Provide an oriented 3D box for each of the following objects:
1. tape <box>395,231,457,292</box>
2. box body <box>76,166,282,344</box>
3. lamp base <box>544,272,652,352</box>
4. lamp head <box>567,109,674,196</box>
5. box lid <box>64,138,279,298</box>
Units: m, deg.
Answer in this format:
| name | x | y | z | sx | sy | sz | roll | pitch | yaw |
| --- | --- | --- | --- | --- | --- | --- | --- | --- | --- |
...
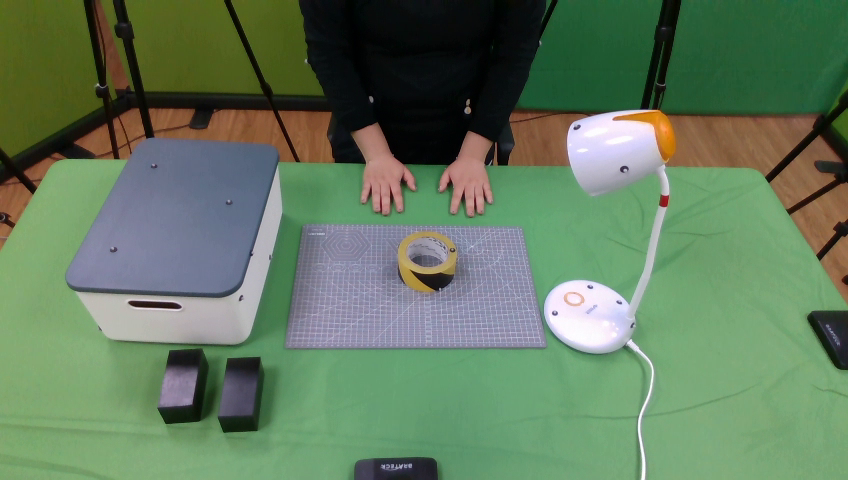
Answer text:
| name | x | y | z | sx | sy | sz | roll | pitch | yaw |
| --- | --- | --- | --- | --- | --- | --- | --- | --- | --- |
| tape | 0.005 | 0.039 | 1.136 | 0.117 | 0.053 | 0.116 | 2 | 46 | -1 |
| box body | -0.406 | -0.002 | 1.071 | 0.254 | 0.161 | 0.361 | 2 | 46 | -2 |
| lamp base | 0.310 | 0.086 | 1.029 | 0.178 | 0.181 | 0.160 | 32 | 52 | 21 |
| lamp head | 0.272 | -0.123 | 0.818 | 0.122 | 0.113 | 0.112 | -9 | 35 | 37 |
| box lid | -0.404 | -0.051 | 1.016 | 0.263 | 0.015 | 0.369 | 3 | 46 | -2 |
